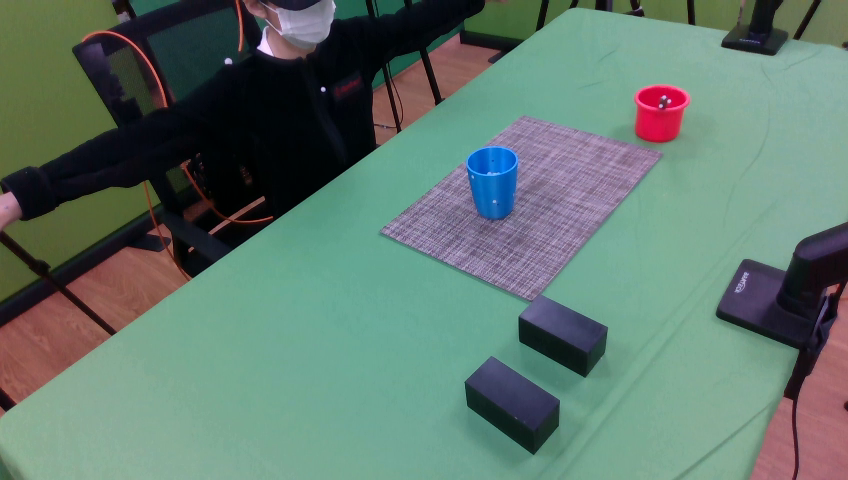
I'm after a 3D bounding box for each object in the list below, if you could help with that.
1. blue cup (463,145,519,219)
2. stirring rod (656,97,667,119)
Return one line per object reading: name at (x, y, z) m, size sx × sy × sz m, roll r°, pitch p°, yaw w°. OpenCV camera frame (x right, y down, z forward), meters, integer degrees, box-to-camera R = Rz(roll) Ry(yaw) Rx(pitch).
blue cup at (0.115, -0.090, 0.997) m, size 0.092 × 0.101 × 0.092 m, roll -5°, pitch 41°, yaw 5°
stirring rod at (0.432, -0.239, 1.102) m, size 0.014 × 0.006 × 0.177 m, roll 4°, pitch 2°, yaw 19°
